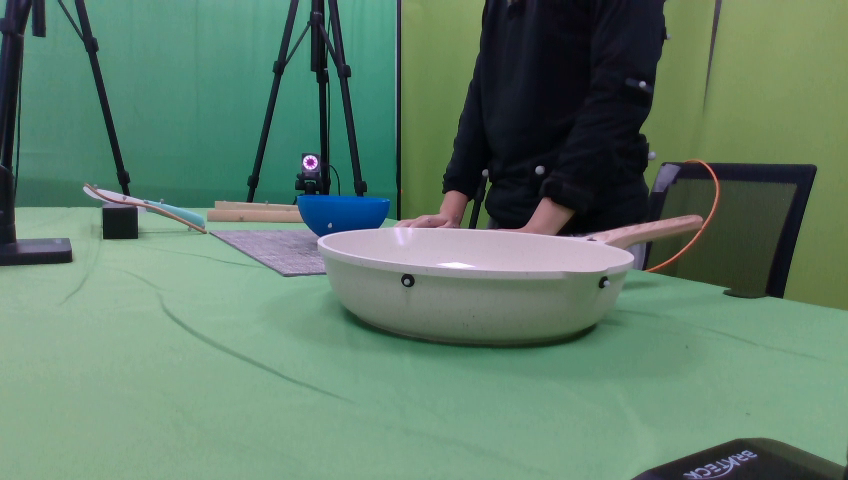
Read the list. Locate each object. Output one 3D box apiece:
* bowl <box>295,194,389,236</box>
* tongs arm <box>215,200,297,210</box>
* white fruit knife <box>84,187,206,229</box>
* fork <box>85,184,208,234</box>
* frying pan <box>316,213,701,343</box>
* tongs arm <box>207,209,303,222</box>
[{"bbox_3d":[-0.133,-0.032,0.980,0.151,0.077,0.151,2,7,0],"label":"bowl"},{"bbox_3d":[-0.295,-0.069,1.425,0.386,0.026,0.050,2,8,-9],"label":"tongs arm"},{"bbox_3d":[-0.488,-0.059,1.071,0.208,0.027,0.016,17,4,-33],"label":"white fruit knife"},{"bbox_3d":[-0.462,-0.051,1.019,0.208,0.018,0.028,22,-12,-37],"label":"fork"},{"bbox_3d":[0.133,0.013,0.629,0.490,0.102,0.305,-12,14,-30],"label":"frying pan"},{"bbox_3d":[-0.277,-0.055,1.347,0.389,0.028,0.028,0,5,-22],"label":"tongs arm"}]
